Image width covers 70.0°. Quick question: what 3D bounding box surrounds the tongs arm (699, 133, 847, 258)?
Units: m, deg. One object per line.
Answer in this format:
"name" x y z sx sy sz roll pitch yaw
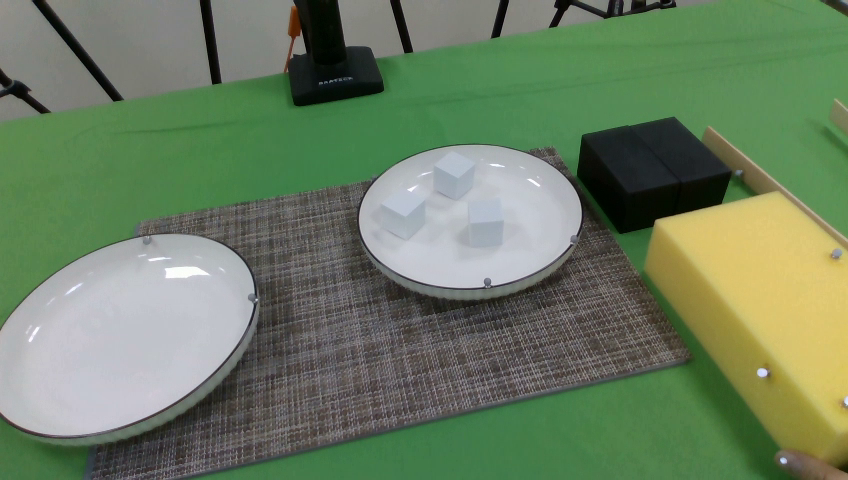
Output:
"tongs arm" 0.368 0.011 0.527 0.028 0.028 0.383 -14 43 -13

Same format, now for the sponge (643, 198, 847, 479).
"sponge" 0.275 0.063 0.455 0.118 0.061 0.204 -14 44 -9

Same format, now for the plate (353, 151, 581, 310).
"plate" 0.040 -0.009 0.568 0.207 0.039 0.205 -2 42 3

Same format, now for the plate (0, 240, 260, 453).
"plate" -0.236 0.082 0.494 0.209 0.038 0.207 -3 42 3

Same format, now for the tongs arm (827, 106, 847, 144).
"tongs arm" 0.447 -0.006 0.532 0.051 0.027 0.380 -7 44 -1
